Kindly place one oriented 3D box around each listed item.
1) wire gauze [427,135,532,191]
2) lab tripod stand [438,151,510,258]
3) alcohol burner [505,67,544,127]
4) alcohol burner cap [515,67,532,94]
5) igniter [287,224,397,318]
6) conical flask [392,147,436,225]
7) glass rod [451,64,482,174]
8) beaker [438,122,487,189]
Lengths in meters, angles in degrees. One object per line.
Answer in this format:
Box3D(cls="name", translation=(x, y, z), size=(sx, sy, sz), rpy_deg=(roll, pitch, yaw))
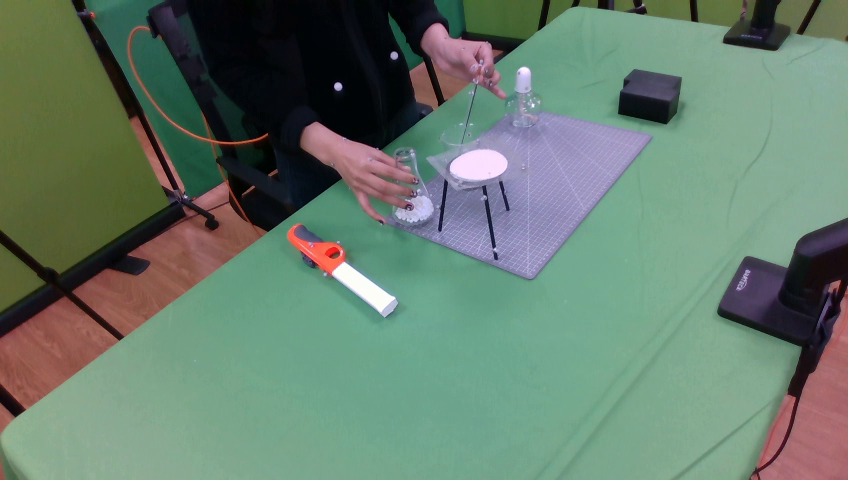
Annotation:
Box3D(cls="wire gauze", translation=(0.081, -0.115, 0.909), size=(0.125, 0.011, 0.120), rpy_deg=(-18, 39, -11))
Box3D(cls="lab tripod stand", translation=(0.087, -0.064, 0.952), size=(0.148, 0.132, 0.147), rpy_deg=(-6, 38, 5))
Box3D(cls="alcohol burner", translation=(0.201, -0.288, 1.211), size=(0.078, 0.119, 0.077), rpy_deg=(-6, 38, 5))
Box3D(cls="alcohol burner cap", translation=(0.197, -0.315, 1.187), size=(0.034, 0.048, 0.033), rpy_deg=(-2, 46, 3))
Box3D(cls="igniter", translation=(-0.139, 0.042, 0.958), size=(0.057, 0.025, 0.274), rpy_deg=(-42, 49, -19))
Box3D(cls="conical flask", translation=(-0.023, -0.091, 0.993), size=(0.075, 0.122, 0.075), rpy_deg=(-6, 36, 5))
Box3D(cls="glass rod", translation=(0.071, -0.203, 1.033), size=(0.008, 0.200, 0.008), rpy_deg=(11, 30, -6))
Box3D(cls="beaker", translation=(0.072, -0.147, 1.080), size=(0.084, 0.101, 0.073), rpy_deg=(-5, 40, 7))
